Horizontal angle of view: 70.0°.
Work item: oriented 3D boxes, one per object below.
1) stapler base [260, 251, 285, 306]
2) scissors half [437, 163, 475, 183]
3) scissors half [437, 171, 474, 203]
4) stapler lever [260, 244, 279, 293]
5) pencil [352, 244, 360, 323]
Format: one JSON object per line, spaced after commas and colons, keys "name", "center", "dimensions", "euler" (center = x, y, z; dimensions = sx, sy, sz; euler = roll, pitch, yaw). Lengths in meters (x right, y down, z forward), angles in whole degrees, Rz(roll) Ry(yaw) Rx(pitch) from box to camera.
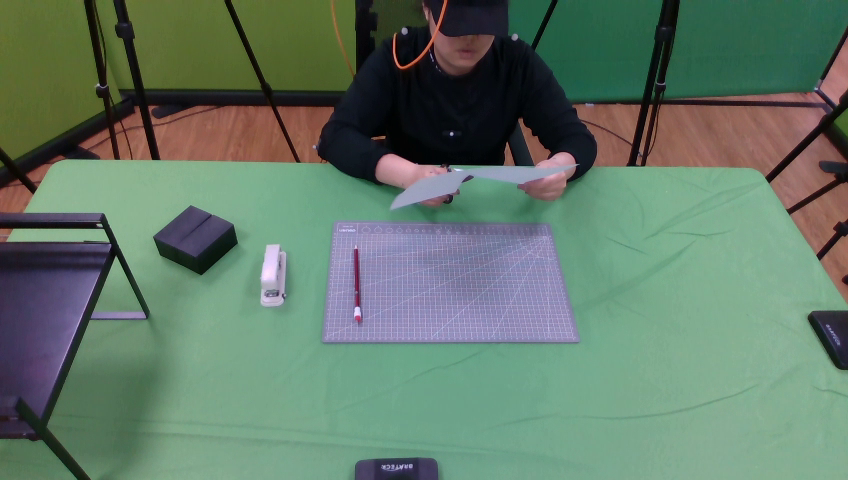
{"name": "stapler base", "center": [-0.279, 0.064, 1.113], "dimensions": [0.041, 0.024, 0.129], "euler": [-2, 44, -9]}
{"name": "scissors half", "center": [0.061, -0.127, 1.177], "dimensions": [0.013, 0.040, 0.174], "euler": [-1, 11, -21]}
{"name": "scissors half", "center": [0.062, -0.106, 1.178], "dimensions": [0.013, 0.175, 0.040], "euler": [-6, 80, -21]}
{"name": "stapler lever", "center": [-0.279, 0.045, 1.096], "dimensions": [0.027, 0.040, 0.117], "euler": [-2, 44, -9]}
{"name": "pencil", "center": [-0.127, 0.075, 1.119], "dimensions": [0.012, 0.012, 0.192], "euler": [-2, 44, -7]}
